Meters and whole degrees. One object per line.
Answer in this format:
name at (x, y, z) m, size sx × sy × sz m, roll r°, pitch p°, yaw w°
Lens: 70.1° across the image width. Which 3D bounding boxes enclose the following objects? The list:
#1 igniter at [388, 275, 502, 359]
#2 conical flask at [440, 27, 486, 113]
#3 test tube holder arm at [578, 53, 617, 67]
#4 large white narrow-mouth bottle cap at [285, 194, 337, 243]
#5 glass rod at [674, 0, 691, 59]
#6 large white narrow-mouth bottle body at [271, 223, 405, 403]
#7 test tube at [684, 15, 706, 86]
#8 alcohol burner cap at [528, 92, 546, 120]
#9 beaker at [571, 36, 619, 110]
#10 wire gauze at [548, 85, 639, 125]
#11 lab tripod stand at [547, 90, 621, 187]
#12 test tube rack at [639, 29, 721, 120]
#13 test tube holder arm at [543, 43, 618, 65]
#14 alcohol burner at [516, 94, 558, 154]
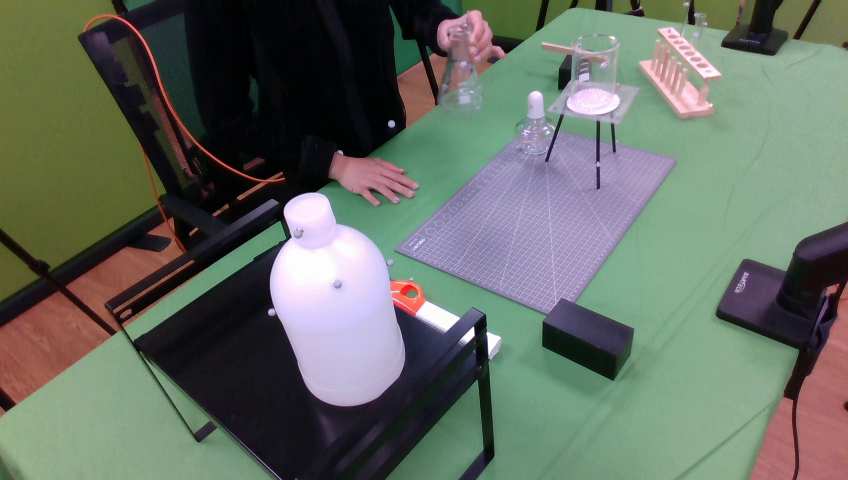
igniter at (-0.009, 0.094, 0.870) m, size 0.274 × 0.025 × 0.057 m, roll 25°, pitch 60°, yaw 33°
conical flask at (0.059, -0.265, 0.940) m, size 0.075 × 0.122 × 0.075 m, roll -3°, pitch 42°, yaw 3°
test tube holder arm at (0.376, -0.393, 1.314) m, size 0.087 × 0.015 × 0.010 m, roll 26°, pitch 51°, yaw 32°
large white narrow-mouth bottle cap at (-0.087, -0.017, 0.467) m, size 0.038 × 0.024 × 0.037 m, roll -5°, pitch 40°, yaw 4°
glass rod at (0.537, -0.437, 1.258) m, size 0.008 × 0.200 × 0.008 m, roll 0°, pitch 39°, yaw 1°
large white narrow-mouth bottle body at (-0.077, 0.048, 0.525) m, size 0.102 × 0.195 × 0.101 m, roll -5°, pitch 40°, yaw 5°
test tube at (0.541, -0.378, 1.216) m, size 0.017 × 0.151 × 0.017 m, roll -2°, pitch 44°, yaw 3°
alcohol burner cap at (0.206, -0.249, 1.112) m, size 0.034 × 0.048 × 0.033 m, roll -6°, pitch 34°, yaw 5°
beaker at (0.281, -0.273, 0.992) m, size 0.084 × 0.101 × 0.073 m, roll -24°, pitch 42°, yaw -16°
wire gauze at (0.286, -0.233, 1.020) m, size 0.124 × 0.011 × 0.122 m, roll 15°, pitch 43°, yaw 30°
lab tripod stand at (0.289, -0.184, 1.062) m, size 0.148 × 0.132 × 0.147 m, roll -6°, pitch 41°, yaw 6°
test tube rack at (0.527, -0.351, 1.262) m, size 0.067 × 0.085 × 0.241 m, roll -8°, pitch 40°, yaw 1°
test tube holder arm at (0.344, -0.413, 1.341) m, size 0.177 × 0.015 × 0.013 m, roll 25°, pitch 50°, yaw 31°
alcohol burner at (0.212, -0.222, 1.134) m, size 0.078 × 0.119 × 0.077 m, roll -5°, pitch 43°, yaw 5°
